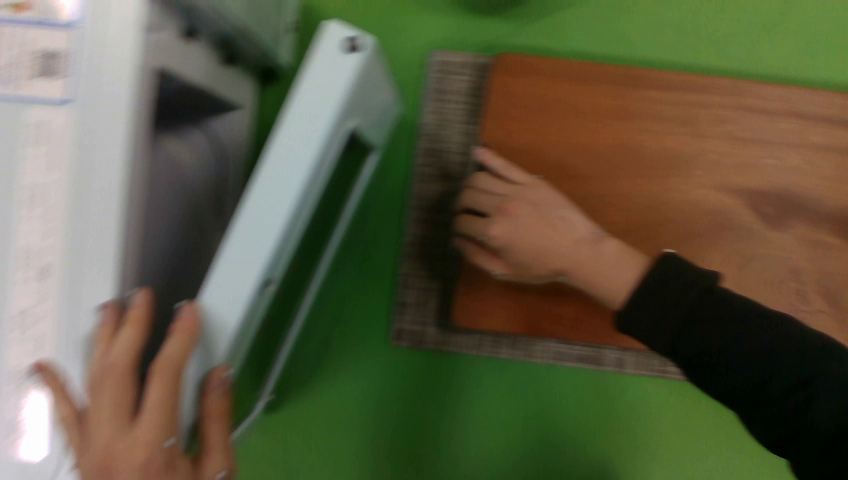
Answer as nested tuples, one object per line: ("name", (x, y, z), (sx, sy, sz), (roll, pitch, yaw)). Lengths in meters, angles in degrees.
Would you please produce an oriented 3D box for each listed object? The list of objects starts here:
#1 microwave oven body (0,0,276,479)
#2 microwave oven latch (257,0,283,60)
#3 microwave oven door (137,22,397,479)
("microwave oven body", (-0.315, -0.043, 0.498), (0.326, 0.260, 0.442), (4, 95, 1))
("microwave oven latch", (-0.150, -0.214, 0.576), (0.030, 0.029, 0.079), (5, 95, 1))
("microwave oven door", (-0.117, 0.024, 0.493), (0.039, 0.243, 0.356), (23, 95, 1))
